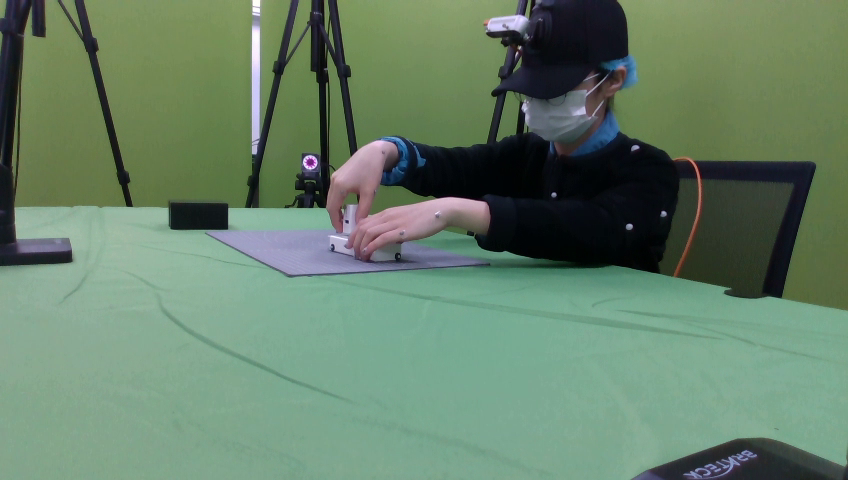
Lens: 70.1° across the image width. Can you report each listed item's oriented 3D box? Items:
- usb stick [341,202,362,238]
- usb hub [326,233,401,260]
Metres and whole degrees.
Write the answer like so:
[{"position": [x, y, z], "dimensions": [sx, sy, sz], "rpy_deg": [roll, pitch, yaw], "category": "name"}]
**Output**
[{"position": [-0.109, -0.028, 0.912], "dimensions": [0.027, 0.059, 0.021], "rpy_deg": [-6, 11, -37], "category": "usb stick"}, {"position": [-0.092, 0.008, 0.892], "dimensions": [0.050, 0.025, 0.124], "rpy_deg": [-5, 10, -41], "category": "usb hub"}]
